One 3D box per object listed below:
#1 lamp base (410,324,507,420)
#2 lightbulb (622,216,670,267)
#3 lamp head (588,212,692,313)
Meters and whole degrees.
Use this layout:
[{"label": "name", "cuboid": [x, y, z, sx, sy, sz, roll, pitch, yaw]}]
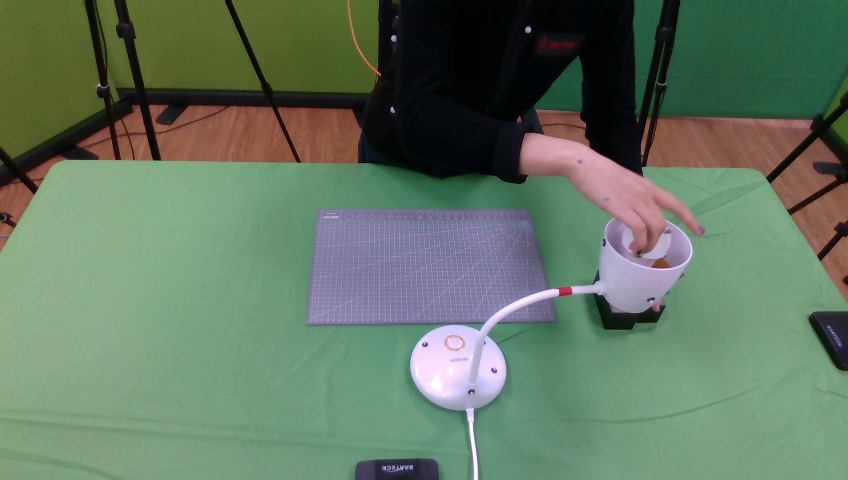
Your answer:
[{"label": "lamp base", "cuboid": [0.065, 0.163, 0.937, 0.161, 0.181, 0.178, -10, 51, -14]}, {"label": "lightbulb", "cuboid": [0.291, 0.018, 0.809, 0.059, 0.108, 0.059, 3, 35, -2]}, {"label": "lamp head", "cuboid": [0.284, 0.041, 0.822, 0.112, 0.123, 0.111, 6, 41, -5]}]
